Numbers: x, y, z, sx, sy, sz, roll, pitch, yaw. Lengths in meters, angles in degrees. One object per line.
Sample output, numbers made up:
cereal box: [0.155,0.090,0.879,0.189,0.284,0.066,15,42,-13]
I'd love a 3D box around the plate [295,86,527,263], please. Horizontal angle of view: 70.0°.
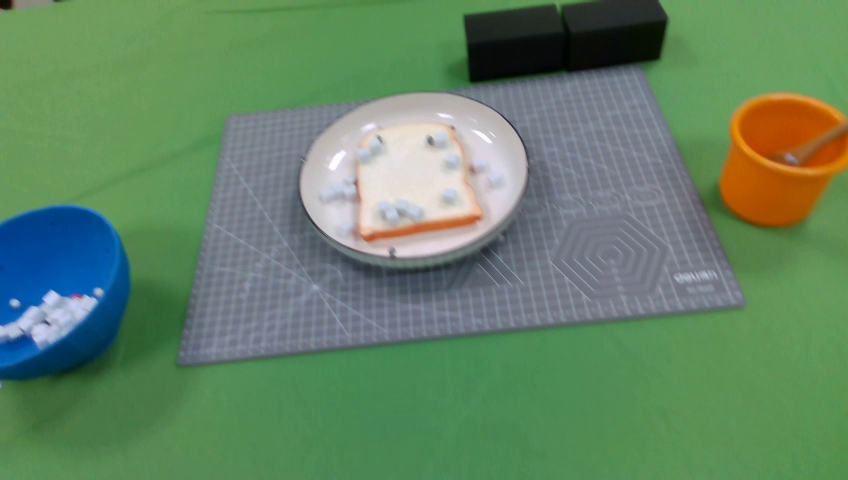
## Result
plate: [-0.012,-0.060,0.555,0.209,0.038,0.207,-3,53,5]

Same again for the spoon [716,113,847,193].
spoon: [0.323,-0.088,0.468,0.022,0.193,0.041,26,50,-29]

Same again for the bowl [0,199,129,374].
bowl: [-0.302,0.049,0.487,0.151,0.077,0.150,-3,53,5]

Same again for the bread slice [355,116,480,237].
bread slice: [-0.015,-0.063,0.560,0.107,0.018,0.133,-12,54,-1]
